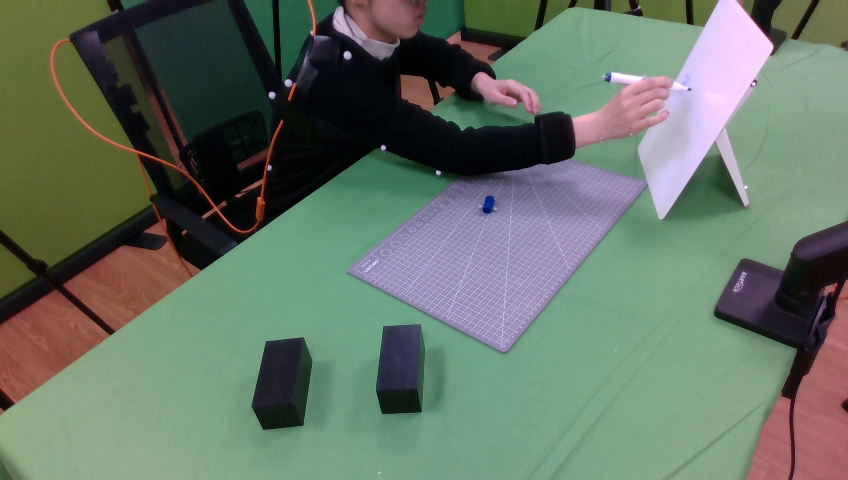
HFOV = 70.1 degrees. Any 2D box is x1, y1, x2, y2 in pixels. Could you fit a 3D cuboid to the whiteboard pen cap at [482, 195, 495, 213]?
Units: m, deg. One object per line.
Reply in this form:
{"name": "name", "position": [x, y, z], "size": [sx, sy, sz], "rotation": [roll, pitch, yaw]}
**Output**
{"name": "whiteboard pen cap", "position": [0.109, -0.060, 1.028], "size": [0.018, 0.018, 0.033], "rotation": [6, 44, 15]}

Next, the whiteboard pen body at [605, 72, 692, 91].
{"name": "whiteboard pen body", "position": [0.351, -0.246, 0.942], "size": [0.141, 0.017, 0.017], "rotation": [6, 40, -6]}

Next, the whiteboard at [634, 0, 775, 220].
{"name": "whiteboard", "position": [0.485, -0.192, 0.957], "size": [0.144, 0.305, 0.216], "rotation": [14, 41, -4]}
